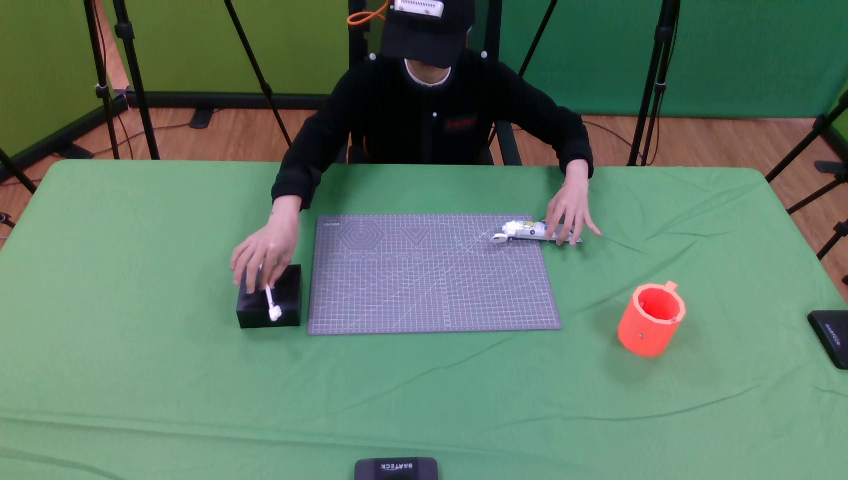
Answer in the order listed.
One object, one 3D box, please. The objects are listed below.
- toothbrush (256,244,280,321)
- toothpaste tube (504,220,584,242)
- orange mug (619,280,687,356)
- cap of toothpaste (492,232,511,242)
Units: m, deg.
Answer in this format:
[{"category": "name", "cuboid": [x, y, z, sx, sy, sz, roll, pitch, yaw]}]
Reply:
[{"category": "toothbrush", "cuboid": [-0.271, 0.068, 1.043, 0.016, 0.014, 0.180, -43, 45, 17]}, {"category": "toothpaste tube", "cuboid": [0.240, -0.019, 1.222, 0.165, 0.034, 0.054, 2, 46, -13]}, {"category": "orange mug", "cuboid": [0.401, 0.125, 1.045, 0.083, 0.101, 0.126, 31, 56, 24]}, {"category": "cap of toothpaste", "cuboid": [0.153, -0.007, 1.196, 0.037, 0.037, 0.011, -3, 70, -7]}]
